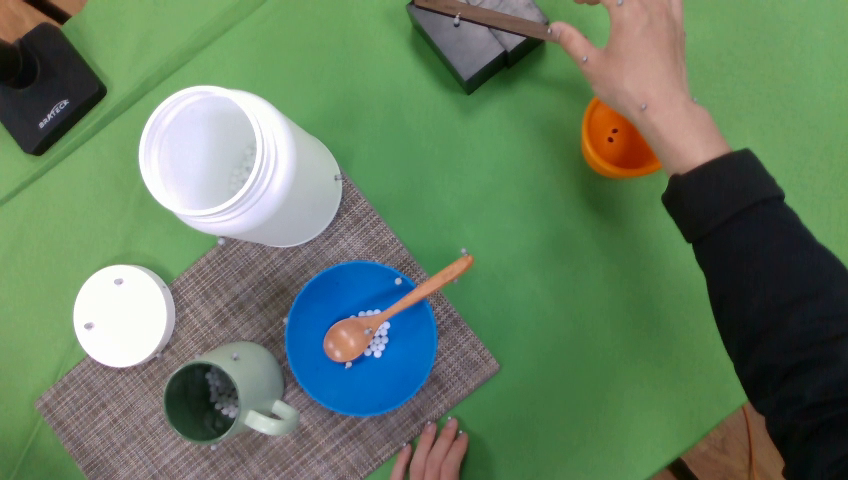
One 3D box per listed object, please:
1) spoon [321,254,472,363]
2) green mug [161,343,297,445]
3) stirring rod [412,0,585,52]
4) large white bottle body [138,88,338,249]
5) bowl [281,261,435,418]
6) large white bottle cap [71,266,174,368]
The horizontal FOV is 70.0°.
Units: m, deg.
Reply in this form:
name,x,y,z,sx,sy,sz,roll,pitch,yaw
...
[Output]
name,x,y,z,sx,sy,sz,roll,pitch,yaw
spoon,-0.029,0.067,0.585,0.194,0.021,0.041,-34,88,28
green mug,-0.188,0.162,0.616,0.125,0.105,0.092,24,90,7
stirring rod,0.071,-0.214,0.594,0.176,0.006,0.014,18,125,6
large white bottle body,-0.169,-0.063,0.579,0.130,0.185,0.130,-1,85,9
bowl,-0.059,0.096,0.616,0.151,0.077,0.151,0,89,7
large white bottle cap,-0.338,0.086,0.679,0.115,0.018,0.114,0,88,7
